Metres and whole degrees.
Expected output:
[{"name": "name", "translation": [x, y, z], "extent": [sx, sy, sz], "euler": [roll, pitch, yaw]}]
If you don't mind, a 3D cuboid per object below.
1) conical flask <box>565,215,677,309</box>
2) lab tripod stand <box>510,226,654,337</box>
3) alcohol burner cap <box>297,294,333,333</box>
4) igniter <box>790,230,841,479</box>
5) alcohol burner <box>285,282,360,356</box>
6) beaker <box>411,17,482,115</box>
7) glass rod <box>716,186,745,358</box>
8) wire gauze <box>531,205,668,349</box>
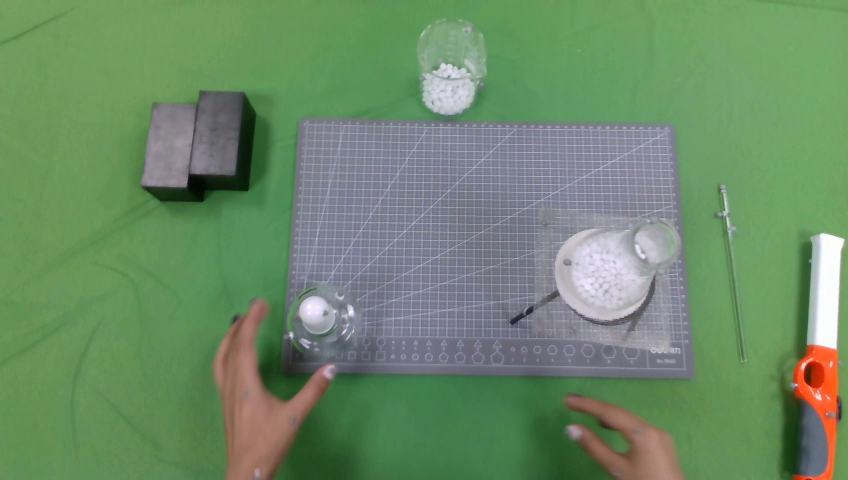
[{"name": "conical flask", "translation": [0.165, 0.014, 0.496], "extent": [0.075, 0.122, 0.075], "euler": [0, 78, 0]}, {"name": "lab tripod stand", "translation": [0.163, 0.049, 0.616], "extent": [0.148, 0.132, 0.147], "euler": [0, 78, 0]}, {"name": "alcohol burner cap", "translation": [-0.106, 0.068, 0.581], "extent": [0.034, 0.048, 0.033], "euler": [1, 69, -3]}, {"name": "igniter", "translation": [0.427, 0.124, 0.658], "extent": [0.057, 0.025, 0.275], "euler": [14, 76, -8]}, {"name": "alcohol burner", "translation": [-0.106, 0.078, 0.616], "extent": [0.078, 0.119, 0.077], "euler": [0, 77, 1]}, {"name": "beaker", "translation": [0.027, -0.192, 0.693], "extent": [0.084, 0.100, 0.074], "euler": [36, 79, 7]}, {"name": "glass rod", "translation": [0.348, 0.033, 0.688], "extent": [0.008, 0.008, 0.198], "euler": [-1, 76, -1]}, {"name": "wire gauze", "translation": [0.161, 0.031, 0.552], "extent": [0.125, 0.011, 0.121], "euler": [7, 79, -1]}]
